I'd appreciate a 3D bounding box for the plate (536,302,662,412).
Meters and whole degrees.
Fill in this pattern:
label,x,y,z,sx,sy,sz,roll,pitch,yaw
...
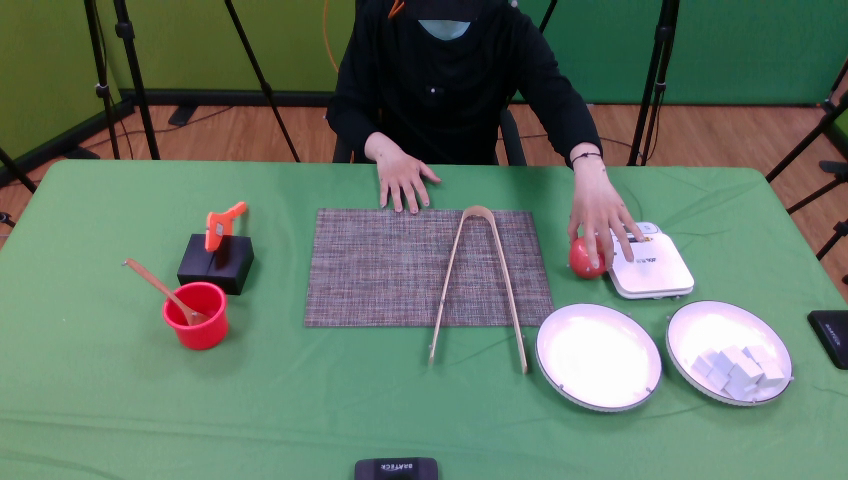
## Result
label,x,y,z,sx,sy,sz,roll,pitch,yaw
plate,0.288,0.197,1.016,0.209,0.038,0.208,2,46,-2

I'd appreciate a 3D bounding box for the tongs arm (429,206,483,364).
label,x,y,z,sx,sy,sz,roll,pitch,yaw
tongs arm,0.065,0.069,1.124,0.051,0.026,0.382,8,45,5

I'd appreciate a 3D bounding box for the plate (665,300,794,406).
label,x,y,z,sx,sy,sz,roll,pitch,yaw
plate,0.513,0.194,1.033,0.208,0.039,0.206,2,46,-2

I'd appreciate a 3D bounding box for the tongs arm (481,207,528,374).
label,x,y,z,sx,sy,sz,roll,pitch,yaw
tongs arm,0.149,0.077,1.124,0.028,0.028,0.385,-4,46,-2

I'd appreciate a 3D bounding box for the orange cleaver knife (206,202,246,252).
label,x,y,z,sx,sy,sz,roll,pitch,yaw
orange cleaver knife,-0.374,-0.029,1.149,0.012,0.077,0.211,4,13,0

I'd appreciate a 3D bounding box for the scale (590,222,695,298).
label,x,y,z,sx,sy,sz,roll,pitch,yaw
scale,0.424,0.031,1.189,0.149,0.032,0.199,-3,46,-7

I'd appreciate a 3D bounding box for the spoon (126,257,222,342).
label,x,y,z,sx,sy,sz,roll,pitch,yaw
spoon,-0.408,0.096,0.990,0.194,0.021,0.041,50,53,-18

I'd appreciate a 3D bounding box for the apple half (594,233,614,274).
label,x,y,z,sx,sy,sz,roll,pitch,yaw
apple half,0.340,0.026,1.148,0.033,0.082,0.080,-8,47,-7

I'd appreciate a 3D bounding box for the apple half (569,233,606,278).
label,x,y,z,sx,sy,sz,roll,pitch,yaw
apple half,0.302,0.032,1.142,0.053,0.075,0.080,-8,49,-6
